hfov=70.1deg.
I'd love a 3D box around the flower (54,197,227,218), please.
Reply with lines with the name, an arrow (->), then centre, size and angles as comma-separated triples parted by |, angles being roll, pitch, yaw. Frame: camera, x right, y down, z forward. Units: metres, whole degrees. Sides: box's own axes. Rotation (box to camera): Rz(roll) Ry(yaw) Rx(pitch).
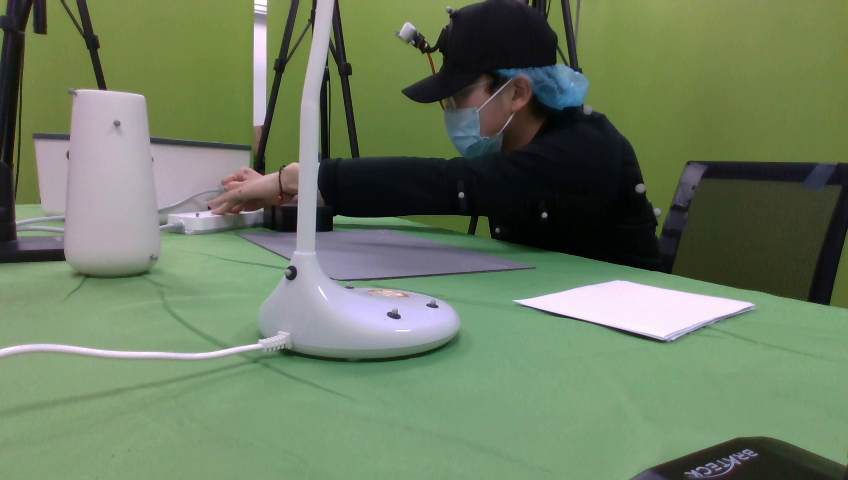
flower -> -0.573, -0.058, 1.266 | 0.044, 0.038, 0.364 | 36, 21, 33

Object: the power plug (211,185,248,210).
power plug -> -0.383, -0.083, 1.205 | 0.072, 0.052, 0.035 | -5, -1, 24

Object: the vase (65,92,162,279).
vase -> -0.347, -0.060, 0.673 | 0.098, 0.200, 0.098 | 1, 7, 0

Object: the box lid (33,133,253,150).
box lid -> -0.555, -0.199, 1.249 | 0.263, 0.015, 0.372 | 5, 8, 15

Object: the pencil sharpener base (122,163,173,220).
pencil sharpener base -> -0.539, -0.095, 1.174 | 0.076, 0.107, 0.061 | 4, 7, 21

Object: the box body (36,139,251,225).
box body -> -0.559, -0.127, 1.257 | 0.253, 0.160, 0.365 | 4, 8, 15

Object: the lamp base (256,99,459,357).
lamp base -> -0.055, -0.013, 0.463 | 0.160, 0.180, 0.180 | 6, 11, 27

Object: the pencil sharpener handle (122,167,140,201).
pencil sharpener handle -> -0.585, -0.111, 1.193 | 0.030, 0.068, 0.036 | 4, 14, 21

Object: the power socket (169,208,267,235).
power socket -> -0.379, -0.038, 1.130 | 0.072, 0.032, 0.227 | 4, 8, 19
